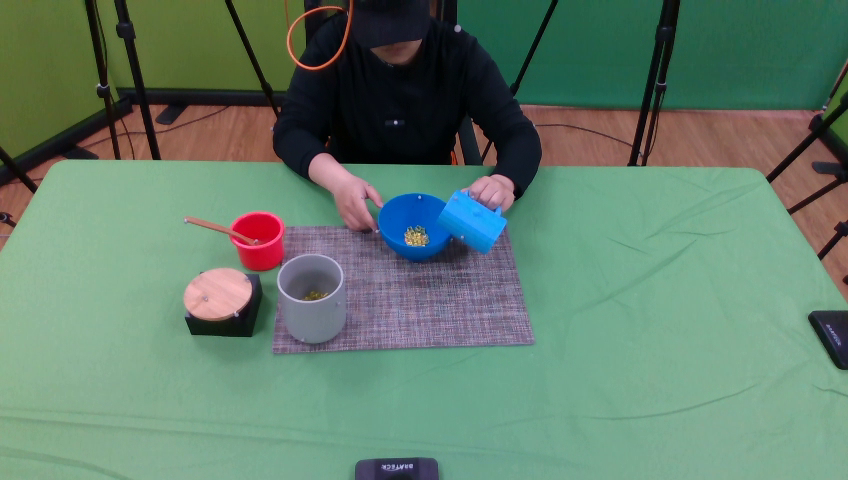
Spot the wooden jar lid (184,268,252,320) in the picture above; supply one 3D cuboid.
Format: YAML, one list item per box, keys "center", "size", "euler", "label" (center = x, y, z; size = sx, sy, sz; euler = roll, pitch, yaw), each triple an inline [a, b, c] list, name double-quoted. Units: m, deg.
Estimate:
- center: [-0.343, 0.092, 1.015]
  size: [0.108, 0.021, 0.107]
  euler: [3, 46, -3]
  label: "wooden jar lid"

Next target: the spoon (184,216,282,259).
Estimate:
- center: [-0.341, -0.008, 1.096]
  size: [0.021, 0.195, 0.041]
  euler: [-36, 47, 25]
  label: "spoon"

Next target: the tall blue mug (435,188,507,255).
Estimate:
- center: [0.089, -0.039, 1.108]
  size: [0.108, 0.078, 0.107]
  euler: [32, 28, 2]
  label: "tall blue mug"

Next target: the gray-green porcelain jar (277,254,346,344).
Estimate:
- center: [-0.184, 0.102, 1.008]
  size: [0.106, 0.127, 0.105]
  euler: [2, 46, -2]
  label: "gray-green porcelain jar"

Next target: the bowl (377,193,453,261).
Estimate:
- center: [-0.015, -0.013, 1.166]
  size: [0.151, 0.077, 0.150]
  euler: [2, 46, -2]
  label: "bowl"
